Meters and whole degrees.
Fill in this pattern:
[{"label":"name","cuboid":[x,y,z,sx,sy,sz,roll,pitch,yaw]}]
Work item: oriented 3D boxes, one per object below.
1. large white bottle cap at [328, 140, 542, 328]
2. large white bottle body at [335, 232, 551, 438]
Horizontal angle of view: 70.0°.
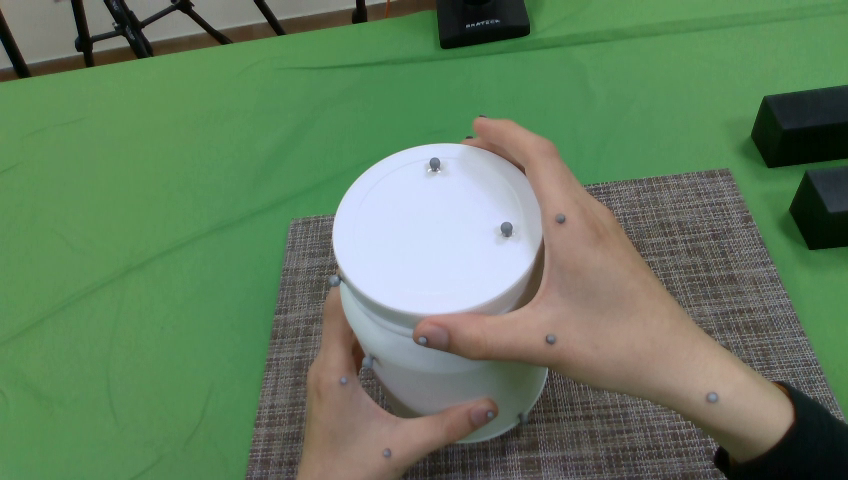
[{"label":"large white bottle cap","cuboid":[0.005,-0.007,0.327,0.115,0.018,0.113,-3,56,5]},{"label":"large white bottle body","cuboid":[0.016,0.043,0.401,0.130,0.186,0.129,-4,56,6]}]
